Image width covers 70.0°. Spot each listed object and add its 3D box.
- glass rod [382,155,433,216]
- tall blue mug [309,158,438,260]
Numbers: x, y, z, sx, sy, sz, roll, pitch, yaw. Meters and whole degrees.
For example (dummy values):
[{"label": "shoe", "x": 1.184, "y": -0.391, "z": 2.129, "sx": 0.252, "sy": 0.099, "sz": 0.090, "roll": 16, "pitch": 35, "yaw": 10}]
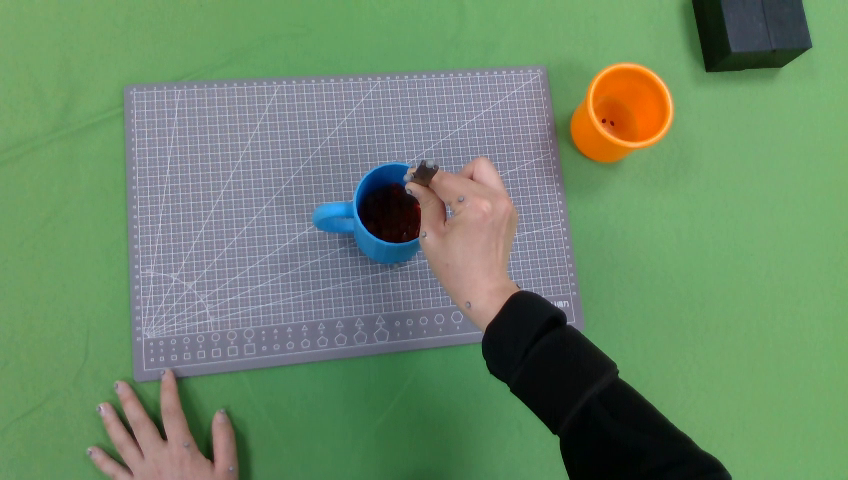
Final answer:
[{"label": "glass rod", "x": -0.018, "y": -0.042, "z": 0.515, "sx": 0.008, "sy": 0.199, "sz": 0.008, "roll": 2, "pitch": 81, "yaw": -13}, {"label": "tall blue mug", "x": -0.046, "y": -0.019, "z": 0.576, "sx": 0.107, "sy": 0.108, "sz": 0.077, "roll": -29, "pitch": 85, "yaw": -11}]
